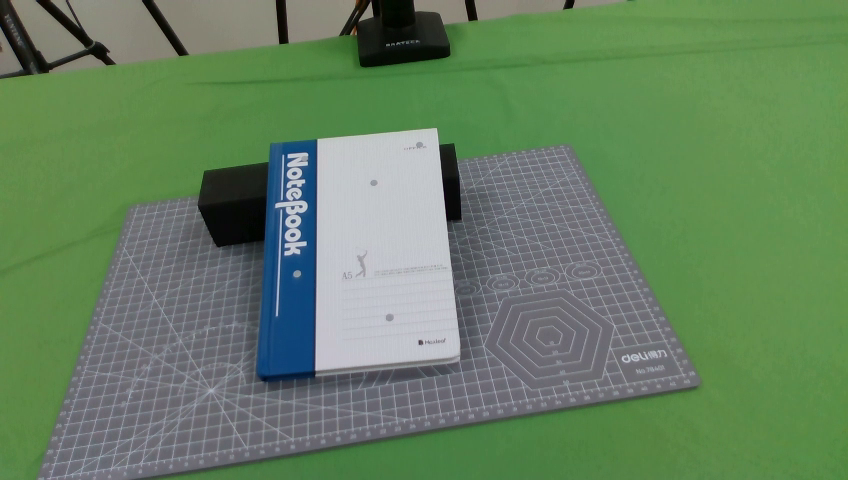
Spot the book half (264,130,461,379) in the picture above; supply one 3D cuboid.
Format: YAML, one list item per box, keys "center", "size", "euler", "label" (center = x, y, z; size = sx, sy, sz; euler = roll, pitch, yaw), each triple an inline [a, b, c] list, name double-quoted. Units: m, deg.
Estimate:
- center: [-0.051, 0.002, 0.481]
  size: [0.143, 0.007, 0.208]
  euler: [-5, 61, 1]
  label: "book half"
